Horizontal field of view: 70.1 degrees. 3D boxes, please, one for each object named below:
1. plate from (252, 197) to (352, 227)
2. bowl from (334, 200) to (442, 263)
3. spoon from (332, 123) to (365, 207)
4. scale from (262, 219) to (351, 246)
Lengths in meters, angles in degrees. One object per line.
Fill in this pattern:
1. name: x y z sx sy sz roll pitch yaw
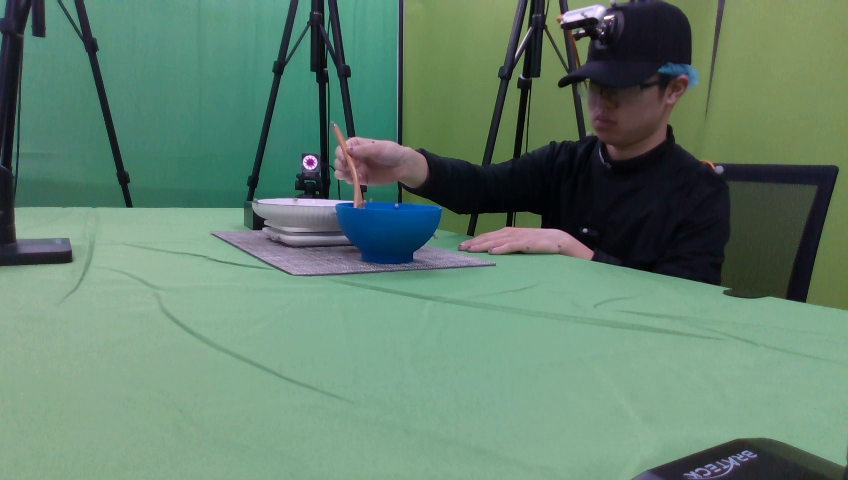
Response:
1. plate: -0.179 -0.047 1.012 0.209 0.038 0.209 2 6 0
2. bowl: -0.051 -0.012 0.849 0.151 0.077 0.151 2 8 0
3. spoon: -0.105 -0.092 0.893 0.021 0.193 0.042 -24 -20 21
4. scale: -0.160 -0.015 1.027 0.202 0.031 0.148 -2 8 -32
